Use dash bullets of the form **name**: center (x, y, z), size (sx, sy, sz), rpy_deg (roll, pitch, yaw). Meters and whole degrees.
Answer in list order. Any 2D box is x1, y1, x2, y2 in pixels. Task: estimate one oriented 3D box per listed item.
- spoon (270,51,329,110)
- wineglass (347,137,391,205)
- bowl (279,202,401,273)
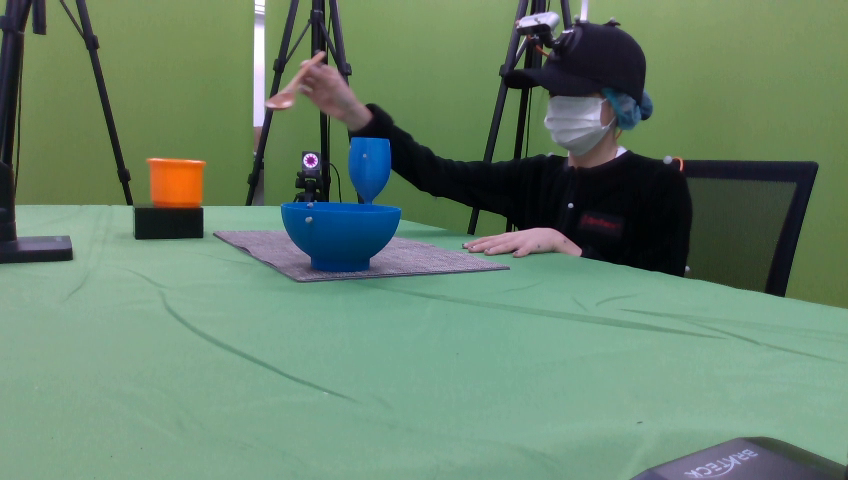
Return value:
- **spoon**: center (-0.205, -0.276, 1.036), size (0.041, 0.021, 0.194), rpy_deg (15, 52, 13)
- **wineglass**: center (-0.093, -0.081, 0.996), size (0.074, 0.172, 0.073), rpy_deg (3, 7, 0)
- **bowl**: center (-0.105, -0.003, 0.756), size (0.151, 0.077, 0.151), rpy_deg (3, 7, 0)
